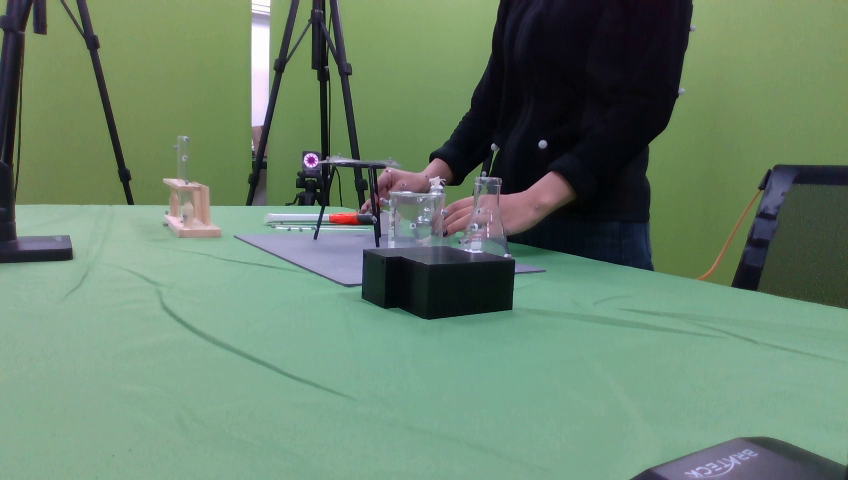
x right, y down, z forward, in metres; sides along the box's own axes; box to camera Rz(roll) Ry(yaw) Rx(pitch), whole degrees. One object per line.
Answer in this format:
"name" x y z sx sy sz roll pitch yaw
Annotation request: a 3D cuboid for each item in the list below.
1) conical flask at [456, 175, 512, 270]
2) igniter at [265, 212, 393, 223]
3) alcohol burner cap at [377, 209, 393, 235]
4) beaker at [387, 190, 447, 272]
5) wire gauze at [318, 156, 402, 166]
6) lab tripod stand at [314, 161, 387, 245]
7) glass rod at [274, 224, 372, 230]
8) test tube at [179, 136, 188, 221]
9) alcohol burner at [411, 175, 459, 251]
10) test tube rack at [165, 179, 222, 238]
"conical flask" 0.082 -0.025 0.801 0.075 0.122 0.075 2 7 0
"igniter" -0.195 -0.048 1.285 0.278 0.025 0.057 -2 -2 -30
"alcohol burner cap" -0.076 -0.035 1.145 0.034 0.048 0.034 2 7 0
"beaker" -0.010 -0.013 0.771 0.074 0.100 0.084 3 7 4
"wire gauze" -0.102 -0.131 1.001 0.121 0.011 0.125 4 8 4
"lab tripod stand" -0.106 -0.064 1.005 0.148 0.131 0.148 4 7 0
"glass rod" -0.193 -0.024 1.176 0.201 0.008 0.008 1 7 -31
"test tube" -0.425 -0.108 1.070 0.017 0.150 0.017 4 9 0
"alcohol burner" 0.018 -0.043 0.958 0.078 0.119 0.078 4 9 0
"test tube rack" -0.423 -0.062 1.098 0.067 0.085 0.241 -2 9 -28
